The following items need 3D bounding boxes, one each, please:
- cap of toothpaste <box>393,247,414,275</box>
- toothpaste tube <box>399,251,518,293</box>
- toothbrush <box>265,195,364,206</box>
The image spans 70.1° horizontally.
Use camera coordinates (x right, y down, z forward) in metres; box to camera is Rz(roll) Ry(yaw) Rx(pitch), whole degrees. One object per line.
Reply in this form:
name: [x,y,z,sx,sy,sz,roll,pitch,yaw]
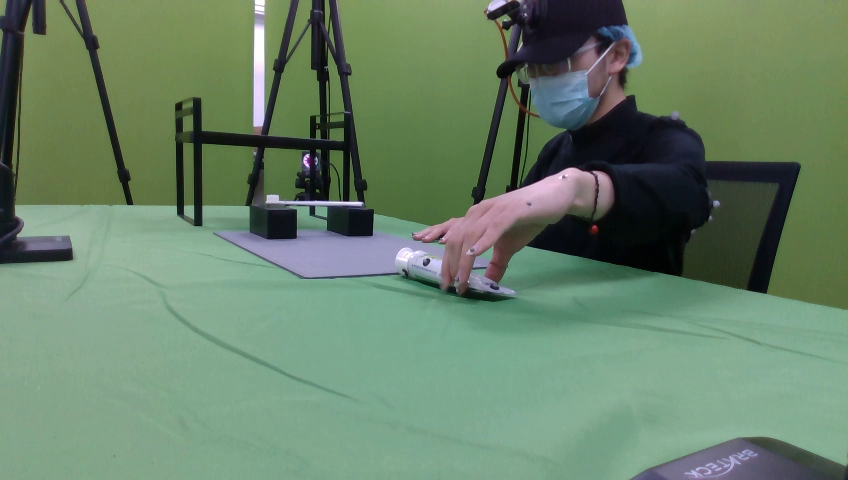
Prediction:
cap of toothpaste: [-0.021,0.026,0.739,0.011,0.037,0.037,8,10,44]
toothpaste tube: [0.027,0.038,0.676,0.055,0.034,0.164,3,7,-40]
toothbrush: [-0.194,-0.069,1.089,0.183,0.016,0.014,0,-6,-27]
